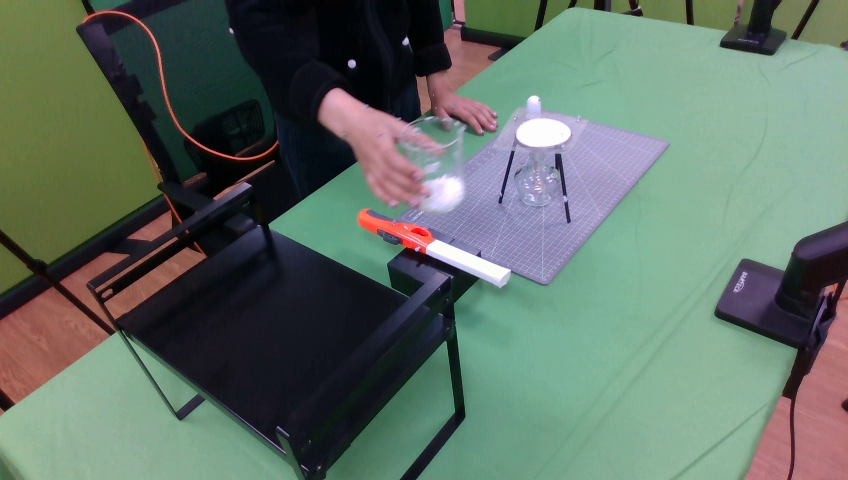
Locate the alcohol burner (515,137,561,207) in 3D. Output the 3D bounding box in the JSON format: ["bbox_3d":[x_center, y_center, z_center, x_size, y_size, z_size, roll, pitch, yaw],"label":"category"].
[{"bbox_3d":[0.189,-0.116,1.008,0.078,0.119,0.077,-5,39,5],"label":"alcohol burner"}]

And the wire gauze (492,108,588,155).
[{"bbox_3d":[0.185,-0.170,0.953,0.121,0.011,0.125,13,44,22],"label":"wire gauze"}]

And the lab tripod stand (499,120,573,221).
[{"bbox_3d":[0.198,-0.117,0.992,0.148,0.132,0.147,-3,41,3],"label":"lab tripod stand"}]

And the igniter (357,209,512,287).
[{"bbox_3d":[0.004,0.006,0.891,0.274,0.025,0.057,23,38,30],"label":"igniter"}]

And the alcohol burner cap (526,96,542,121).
[{"bbox_3d":[0.225,-0.272,1.243,0.034,0.048,0.033,-5,41,5],"label":"alcohol burner cap"}]

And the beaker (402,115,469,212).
[{"bbox_3d":[0.020,-0.092,0.739,0.084,0.101,0.073,-22,43,-15],"label":"beaker"}]
